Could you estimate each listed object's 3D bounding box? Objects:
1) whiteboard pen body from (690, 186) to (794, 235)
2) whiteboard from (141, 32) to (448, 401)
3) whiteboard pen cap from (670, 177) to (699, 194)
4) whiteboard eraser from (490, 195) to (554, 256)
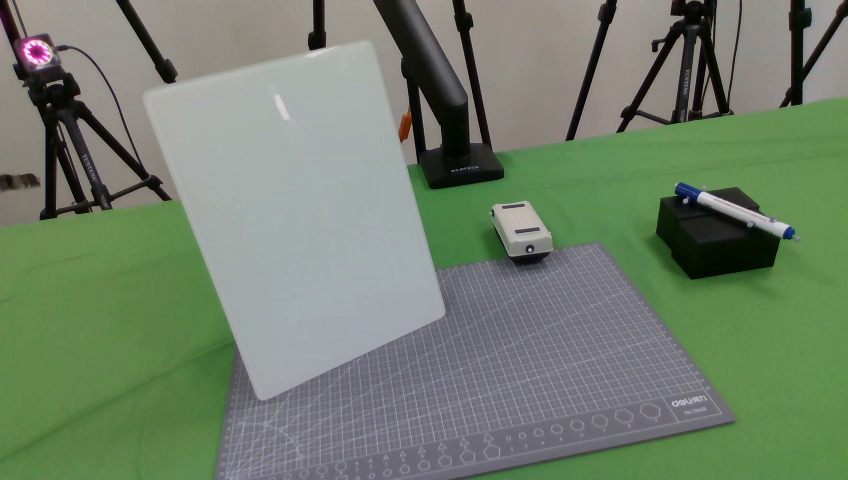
[{"bbox_3d":[0.356,-0.040,0.699,0.017,0.017,0.139,-24,37,-25],"label":"whiteboard pen body"},{"bbox_3d":[-0.133,-0.032,0.643,0.217,0.307,0.143,-22,17,-22],"label":"whiteboard"},{"bbox_3d":[0.319,-0.066,0.742,0.033,0.018,0.018,-11,29,25],"label":"whiteboard pen cap"},{"bbox_3d":[0.122,-0.019,0.771,0.055,0.042,0.111,-10,30,-3],"label":"whiteboard eraser"}]
